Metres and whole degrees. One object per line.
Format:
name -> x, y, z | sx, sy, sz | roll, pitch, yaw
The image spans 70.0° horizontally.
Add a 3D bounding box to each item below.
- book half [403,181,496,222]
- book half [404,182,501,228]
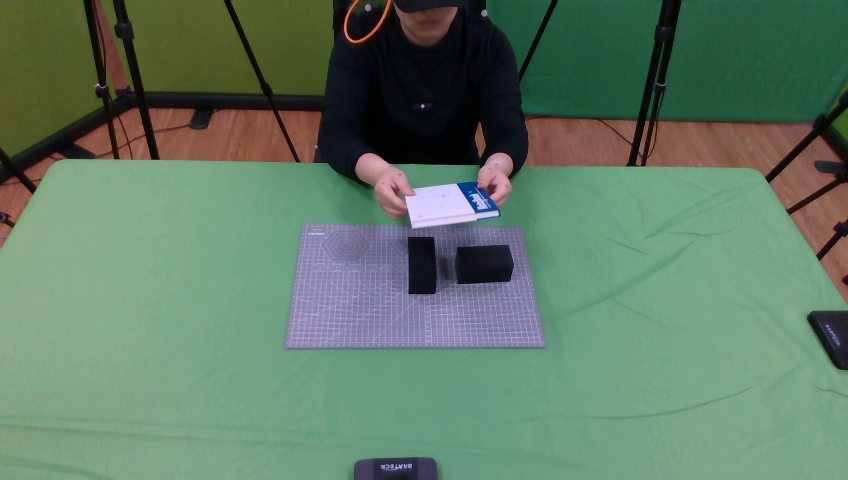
book half -> 0.038, -0.072, 1.080 | 0.143, 0.007, 0.209 | -7, 19, -3
book half -> 0.042, -0.066, 1.082 | 0.149, 0.016, 0.209 | -7, 19, -3
